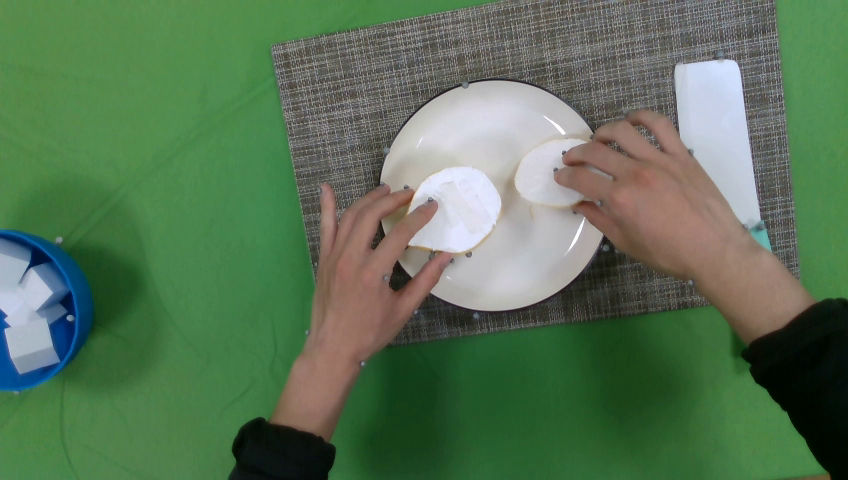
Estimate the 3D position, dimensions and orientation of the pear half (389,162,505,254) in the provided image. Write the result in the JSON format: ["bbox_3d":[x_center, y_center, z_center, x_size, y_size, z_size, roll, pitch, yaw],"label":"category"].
[{"bbox_3d":[0.013,-0.019,0.534,0.110,0.056,0.076,-32,87,-7],"label":"pear half"}]

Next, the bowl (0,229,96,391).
[{"bbox_3d":[-0.376,0.060,0.582,0.151,0.076,0.151,1,98,5],"label":"bowl"}]

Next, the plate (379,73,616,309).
[{"bbox_3d":[0.064,-0.042,0.549,0.207,0.039,0.208,1,98,5],"label":"plate"}]

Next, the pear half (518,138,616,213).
[{"bbox_3d":[0.128,-0.054,0.532,0.087,0.031,0.070,-1,78,32],"label":"pear half"}]

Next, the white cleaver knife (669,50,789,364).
[{"bbox_3d":[0.274,-0.027,0.547,0.066,0.021,0.286,-11,93,14],"label":"white cleaver knife"}]
